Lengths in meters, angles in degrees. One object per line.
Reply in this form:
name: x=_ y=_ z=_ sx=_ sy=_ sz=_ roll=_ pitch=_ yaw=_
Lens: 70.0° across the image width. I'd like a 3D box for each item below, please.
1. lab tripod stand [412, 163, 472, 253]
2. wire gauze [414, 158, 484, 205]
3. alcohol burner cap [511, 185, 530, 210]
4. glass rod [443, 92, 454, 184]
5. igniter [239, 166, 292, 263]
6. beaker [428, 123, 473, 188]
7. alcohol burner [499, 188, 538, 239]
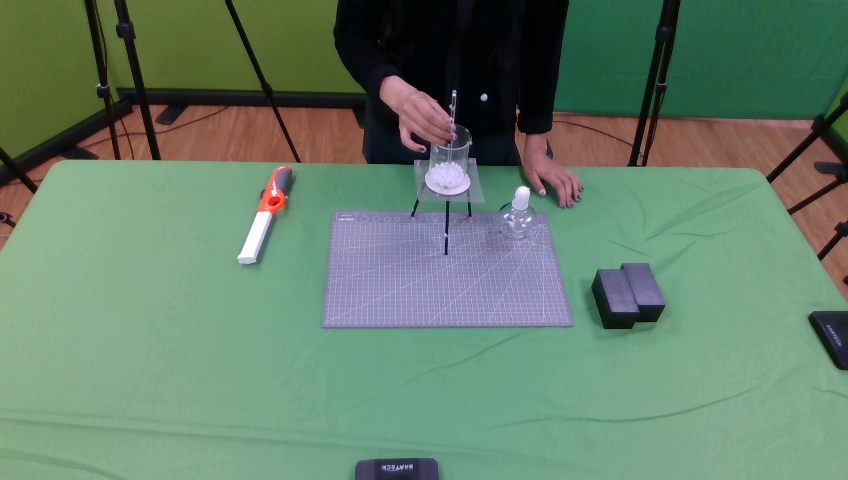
lab tripod stand: x=0.043 y=-0.070 z=1.187 sx=0.148 sy=0.132 sz=0.147 roll=3 pitch=47 yaw=-3
wire gauze: x=0.045 y=-0.113 z=1.137 sx=0.125 sy=0.011 sz=0.120 roll=1 pitch=48 yaw=-6
alcohol burner cap: x=0.190 y=-0.085 z=1.176 sx=0.034 sy=0.048 sz=0.033 roll=3 pitch=50 yaw=-3
glass rod: x=0.042 y=-0.172 z=1.053 sx=0.008 sy=0.201 sz=0.008 roll=2 pitch=48 yaw=-2
igniter: x=-0.318 y=-0.060 z=1.229 sx=0.057 sy=0.025 sz=0.275 roll=-2 pitch=45 yaw=9
beaker: x=0.044 y=-0.154 z=1.109 sx=0.074 sy=0.101 sz=0.083 roll=-25 pitch=54 yaw=-25
alcohol burner: x=0.189 y=-0.060 z=1.202 sx=0.078 sy=0.120 sz=0.077 roll=1 pitch=48 yaw=-1
